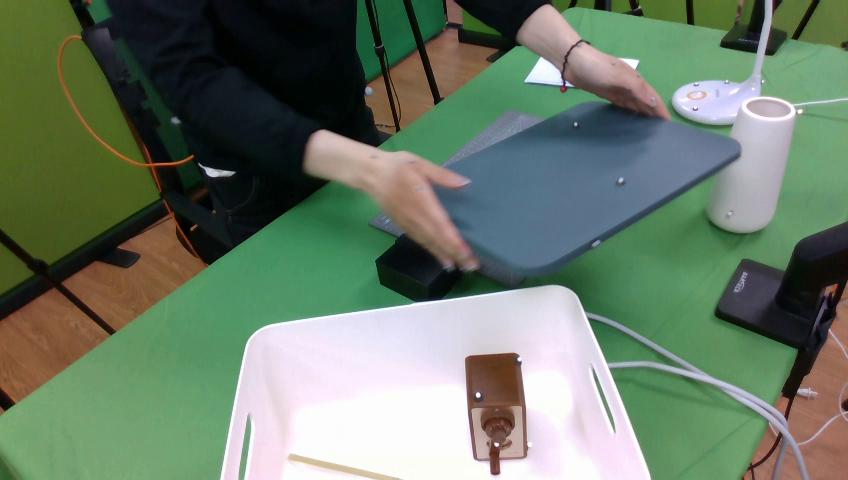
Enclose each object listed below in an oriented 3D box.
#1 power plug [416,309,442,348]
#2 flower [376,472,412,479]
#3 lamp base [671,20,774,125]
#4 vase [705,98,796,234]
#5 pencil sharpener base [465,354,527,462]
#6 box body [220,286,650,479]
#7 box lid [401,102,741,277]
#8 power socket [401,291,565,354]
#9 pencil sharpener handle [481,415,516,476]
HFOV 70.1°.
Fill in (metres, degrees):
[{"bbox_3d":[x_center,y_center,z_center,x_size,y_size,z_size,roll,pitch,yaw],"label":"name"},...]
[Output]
[{"bbox_3d":[0.005,0.121,0.787,0.035,0.053,0.072,2,45,7],"label":"power plug"},{"bbox_3d":[0.017,0.270,0.655,0.360,0.038,0.044,3,17,21],"label":"flower"},{"bbox_3d":[0.581,-0.332,1.154,0.179,0.181,0.160,2,41,7],"label":"lamp base"},{"bbox_3d":[0.480,-0.104,0.888,0.098,0.201,0.097,-4,42,4],"label":"vase"},{"bbox_3d":[0.080,0.188,0.665,0.061,0.107,0.076,-4,40,5],"label":"pencil sharpener base"},{"bbox_3d":[0.006,0.210,0.618,0.364,0.161,0.252,-8,40,-1],"label":"box body"},{"bbox_3d":[0.178,-0.084,0.758,0.373,0.015,0.261,-28,37,-25],"label":"box lid"},{"bbox_3d":[0.079,0.111,0.823,0.227,0.033,0.072,-5,41,1],"label":"power socket"},{"bbox_3d":[0.076,0.211,0.618,0.036,0.068,0.030,0,40,2],"label":"pencil sharpener handle"}]
